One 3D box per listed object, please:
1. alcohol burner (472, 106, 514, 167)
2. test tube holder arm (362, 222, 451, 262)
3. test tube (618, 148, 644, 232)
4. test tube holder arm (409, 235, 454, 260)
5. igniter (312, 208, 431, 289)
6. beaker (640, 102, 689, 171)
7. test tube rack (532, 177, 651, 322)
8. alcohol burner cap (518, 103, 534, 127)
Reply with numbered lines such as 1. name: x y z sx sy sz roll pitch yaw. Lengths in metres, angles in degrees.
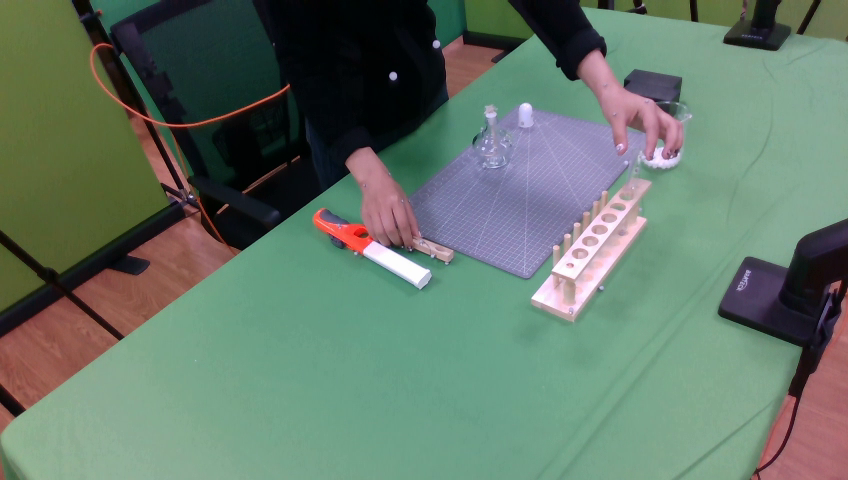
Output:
1. alcohol burner: 0.126 -0.194 1.111 0.078 0.119 0.077 -5 42 5
2. test tube holder arm: -0.031 0.001 0.982 0.177 0.015 0.013 19 32 29
3. test tube: 0.300 -0.069 0.880 0.017 0.151 0.017 -3 44 4
4. test tube holder arm: 0.009 0.012 0.964 0.087 0.015 0.010 20 33 30
5. igniter: -0.096 0.008 0.986 0.274 0.025 0.057 28 61 36
6. beaker: 0.417 -0.177 1.053 0.074 0.101 0.083 -4 41 7
7. test tube rack: 0.248 0.003 0.883 0.066 0.085 0.243 22 49 32
8. alcohol burner cap: 0.205 -0.254 1.223 0.034 0.048 0.033 -6 41 6
